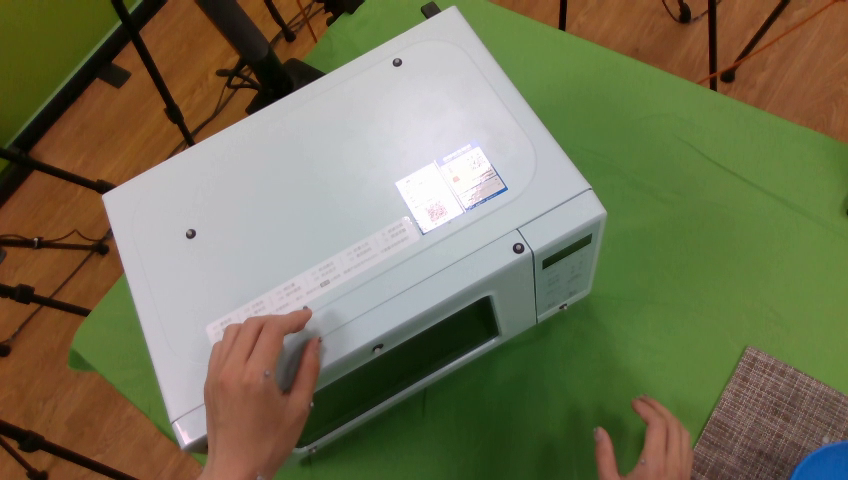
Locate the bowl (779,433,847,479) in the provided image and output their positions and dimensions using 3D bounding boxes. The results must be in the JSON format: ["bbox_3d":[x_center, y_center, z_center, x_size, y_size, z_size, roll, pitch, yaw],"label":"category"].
[{"bbox_3d":[0.422,0.272,0.601,0.151,0.077,0.150,-4,67,9],"label":"bowl"}]

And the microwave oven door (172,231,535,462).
[{"bbox_3d":[-0.046,0.127,0.645,0.356,0.246,0.039,-29,64,-2],"label":"microwave oven door"}]

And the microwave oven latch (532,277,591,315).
[{"bbox_3d":[0.166,0.060,0.745,0.079,0.030,0.030,-28,66,-1],"label":"microwave oven latch"}]

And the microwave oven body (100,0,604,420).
[{"bbox_3d":[-0.074,-0.006,0.711,0.442,0.262,0.323,-30,66,-2],"label":"microwave oven body"}]
